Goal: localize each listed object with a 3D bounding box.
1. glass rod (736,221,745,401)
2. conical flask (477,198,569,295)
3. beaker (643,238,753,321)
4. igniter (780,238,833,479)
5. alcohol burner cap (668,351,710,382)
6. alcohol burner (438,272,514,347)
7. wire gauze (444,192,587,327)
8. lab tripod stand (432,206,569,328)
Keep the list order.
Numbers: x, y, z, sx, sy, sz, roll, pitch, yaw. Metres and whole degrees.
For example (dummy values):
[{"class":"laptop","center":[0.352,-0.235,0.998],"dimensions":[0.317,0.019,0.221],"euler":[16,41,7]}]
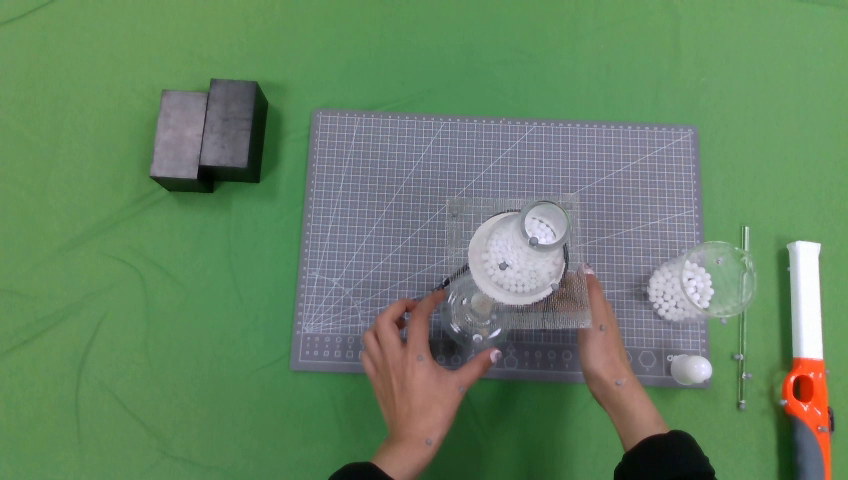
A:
[{"class":"glass rod","center":[0.349,0.075,0.667],"dimensions":[0.008,0.008,0.199],"euler":[6,78,0]},{"class":"conical flask","center":[0.084,0.000,0.483],"dimensions":[0.075,0.122,0.075],"euler":[0,78,0]},{"class":"beaker","center":[0.278,0.043,0.623],"dimensions":[0.084,0.100,0.073],"euler":[-34,81,-8]},{"class":"igniter","center":[0.406,0.134,0.646],"dimensions":[0.057,0.025,0.275],"euler":[7,78,-10]},{"class":"alcohol burner cap","center":[0.280,0.132,0.633],"dimensions":[0.034,0.048,0.033],"euler":[0,77,-1]},{"class":"alcohol burner","center":[0.054,0.067,0.606],"dimensions":[0.078,0.119,0.077],"euler":[0,75,0]},{"class":"wire gauze","center":[0.082,0.017,0.540],"dimensions":[0.125,0.011,0.121],"euler":[-1,80,-3]},{"class":"lab tripod stand","center":[0.081,0.029,0.604],"dimensions":[0.148,0.132,0.148],"euler":[0,79,0]}]
